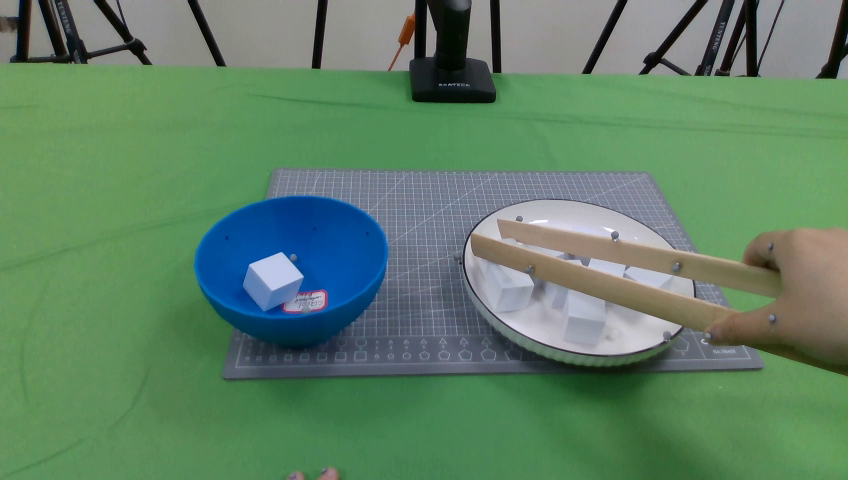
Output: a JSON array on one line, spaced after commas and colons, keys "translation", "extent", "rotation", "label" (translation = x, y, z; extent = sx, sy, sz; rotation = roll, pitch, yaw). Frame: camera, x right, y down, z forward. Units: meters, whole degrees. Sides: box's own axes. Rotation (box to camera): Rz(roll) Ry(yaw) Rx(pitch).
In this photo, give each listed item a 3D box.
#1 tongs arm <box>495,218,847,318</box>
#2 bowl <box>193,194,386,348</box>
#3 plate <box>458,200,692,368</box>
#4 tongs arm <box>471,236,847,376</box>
[{"translation": [0.202, 0.033, 0.437], "extent": [0.381, 0.027, 0.050], "rotation": [13, 37, 38], "label": "tongs arm"}, {"translation": [-0.106, 0.037, 0.505], "extent": [0.151, 0.077, 0.150], "rotation": [3, 40, -2], "label": "bowl"}, {"translation": [0.134, 0.039, 0.555], "extent": [0.208, 0.039, 0.205], "rotation": [3, 40, -2], "label": "plate"}, {"translation": [0.185, 0.045, 0.423], "extent": [0.384, 0.028, 0.028], "rotation": [16, 36, 41], "label": "tongs arm"}]
